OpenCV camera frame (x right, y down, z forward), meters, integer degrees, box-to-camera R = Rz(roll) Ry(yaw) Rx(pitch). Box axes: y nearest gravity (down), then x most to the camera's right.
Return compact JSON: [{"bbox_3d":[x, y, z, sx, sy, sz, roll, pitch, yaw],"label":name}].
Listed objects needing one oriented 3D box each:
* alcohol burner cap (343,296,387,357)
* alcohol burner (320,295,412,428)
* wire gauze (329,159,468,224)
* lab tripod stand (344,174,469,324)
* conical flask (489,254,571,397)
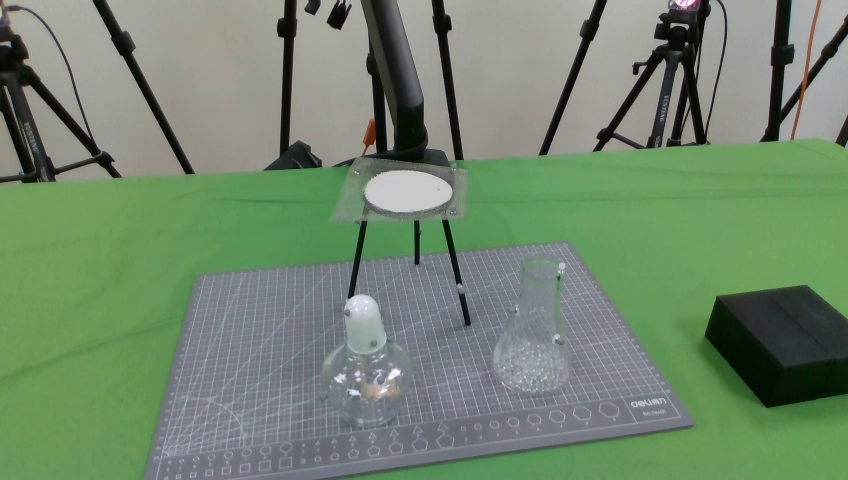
[{"bbox_3d":[-0.048,0.066,0.481,0.034,0.048,0.033,-4,36,4],"label":"alcohol burner cap"},{"bbox_3d":[-0.049,0.096,0.501,0.078,0.120,0.077,0,30,1],"label":"alcohol burner"},{"bbox_3d":[-0.019,-0.047,0.586,0.121,0.011,0.124,4,33,4],"label":"wire gauze"},{"bbox_3d":[-0.013,0.010,0.622,0.148,0.132,0.147,2,32,-1],"label":"lab tripod stand"},{"bbox_3d":[0.098,0.072,0.534,0.075,0.123,0.074,0,32,0],"label":"conical flask"}]
